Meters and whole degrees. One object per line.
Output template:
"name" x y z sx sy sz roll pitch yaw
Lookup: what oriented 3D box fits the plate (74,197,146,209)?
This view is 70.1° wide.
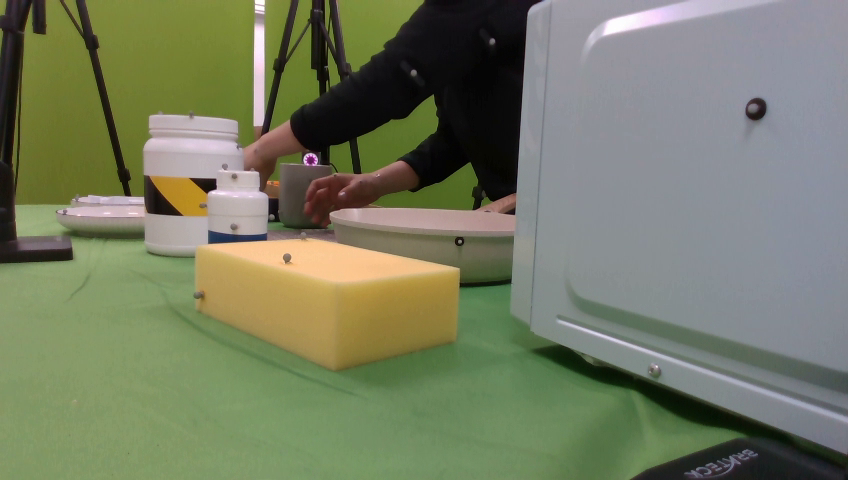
"plate" -0.596 -0.062 1.238 0.208 0.039 0.207 2 8 0

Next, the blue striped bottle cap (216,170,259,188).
"blue striped bottle cap" -0.201 -0.066 0.654 0.044 0.020 0.044 0 5 0

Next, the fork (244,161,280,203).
"fork" -0.399 -0.144 1.489 0.028 0.018 0.208 23 -23 47

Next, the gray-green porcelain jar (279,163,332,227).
"gray-green porcelain jar" -0.238 -0.092 1.221 0.106 0.126 0.106 2 7 0

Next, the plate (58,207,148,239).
"plate" -0.496 -0.030 1.021 0.209 0.038 0.209 2 8 0

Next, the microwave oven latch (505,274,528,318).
"microwave oven latch" 0.100 0.041 0.472 0.079 0.029 0.030 -2 8 -29

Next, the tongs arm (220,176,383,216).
"tongs arm" -0.285 -0.104 1.445 0.389 0.027 0.028 9 -4 -23

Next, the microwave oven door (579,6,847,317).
"microwave oven door" 0.294 -0.067 0.570 0.358 0.243 0.039 -3 9 -31

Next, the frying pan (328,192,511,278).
"frying pan" 0.070 -0.030 0.884 0.305 0.102 0.490 7 17 27

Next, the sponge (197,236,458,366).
"sponge" -0.087 0.039 0.500 0.206 0.061 0.119 8 9 44

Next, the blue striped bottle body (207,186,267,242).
"blue striped bottle body" -0.204 -0.015 0.661 0.063 0.120 0.063 2 7 0

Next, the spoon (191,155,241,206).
"spoon" -0.489 -0.136 1.418 0.041 0.021 0.194 2 -35 19

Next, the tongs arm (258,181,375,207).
"tongs arm" -0.241 -0.095 1.373 0.387 0.026 0.050 9 0 -37

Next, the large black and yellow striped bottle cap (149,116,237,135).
"large black and yellow striped bottle cap" -0.319 -0.158 0.841 0.115 0.019 0.115 3 7 0

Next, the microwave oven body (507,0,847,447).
"microwave oven body" 0.331 -0.042 0.425 0.444 0.260 0.324 -2 8 -31

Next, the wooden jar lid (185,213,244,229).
"wooden jar lid" -0.404 -0.037 1.169 0.108 0.020 0.108 3 8 0

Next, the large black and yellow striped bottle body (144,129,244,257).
"large black and yellow striped bottle body" -0.320 -0.075 0.851 0.131 0.184 0.130 2 8 0
